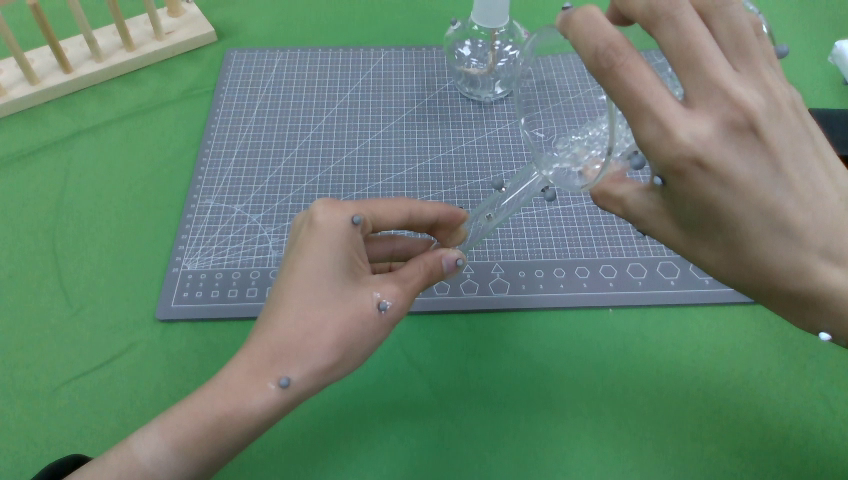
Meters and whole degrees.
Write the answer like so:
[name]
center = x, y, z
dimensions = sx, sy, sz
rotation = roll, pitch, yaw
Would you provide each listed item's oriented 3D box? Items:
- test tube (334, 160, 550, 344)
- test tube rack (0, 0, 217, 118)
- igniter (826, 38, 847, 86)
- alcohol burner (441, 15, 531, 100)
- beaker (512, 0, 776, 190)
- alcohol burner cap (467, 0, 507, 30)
[test tube]
center = 0.005, 0.010, 0.327
dimensions = 0.150, 0.017, 0.017
rotation = -40, 54, 19
[test tube rack]
center = -0.323, -0.190, 0.541
dimensions = 0.242, 0.086, 0.066
rotation = -28, 58, -19
[igniter]
center = 0.346, -0.055, 0.420
dimensions = 0.057, 0.025, 0.274
rotation = 0, 52, 4
[alcohol burner]
center = 0.054, -0.179, 0.513
dimensions = 0.078, 0.120, 0.077
rotation = 1, 54, -1
[beaker]
center = 0.103, -0.071, 0.286
dimensions = 0.100, 0.084, 0.073
rotation = -18, 62, -17
[alcohol burner cap]
center = 0.053, -0.199, 0.489
dimensions = 0.034, 0.048, 0.033
rotation = 2, 52, -2
